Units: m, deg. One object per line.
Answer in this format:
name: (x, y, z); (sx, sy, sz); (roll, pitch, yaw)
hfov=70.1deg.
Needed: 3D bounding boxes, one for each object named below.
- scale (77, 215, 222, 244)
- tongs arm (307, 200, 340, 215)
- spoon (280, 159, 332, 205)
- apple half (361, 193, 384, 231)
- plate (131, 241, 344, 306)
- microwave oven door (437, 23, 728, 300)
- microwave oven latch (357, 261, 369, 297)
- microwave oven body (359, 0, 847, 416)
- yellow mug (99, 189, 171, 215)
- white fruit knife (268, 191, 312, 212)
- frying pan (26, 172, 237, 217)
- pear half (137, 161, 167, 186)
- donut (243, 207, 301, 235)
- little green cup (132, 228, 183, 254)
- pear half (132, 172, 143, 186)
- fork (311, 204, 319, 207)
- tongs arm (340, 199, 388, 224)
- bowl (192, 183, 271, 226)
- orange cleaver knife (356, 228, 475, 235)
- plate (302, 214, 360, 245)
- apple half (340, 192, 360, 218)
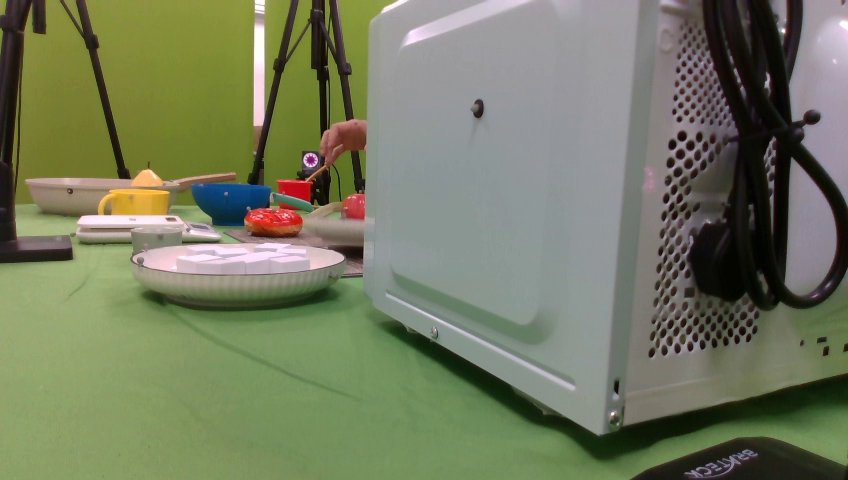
scale: (-0.434, -0.019, 0.963); (0.202, 0.031, 0.148); (-1, 9, -27)
tongs arm: (-0.234, -0.067, 1.414); (0.028, 0.028, 0.387); (-6, 8, 1)
spoon: (-0.316, -0.159, 1.640); (0.194, 0.022, 0.041); (-50, 32, -20)
apple half: (-0.093, -0.053, 1.136); (0.033, 0.081, 0.081); (1, 7, 12)
plate: (-0.187, 0.033, 0.625); (0.208, 0.039, 0.207); (2, 8, 0)
microwave oven door: (0.181, -0.072, 0.621); (0.358, 0.243, 0.039); (-2, 8, -29)
microwave oven latch: (-0.019, 0.033, 0.530); (0.079, 0.029, 0.030); (-1, 7, -26)
microwave oven body: (0.211, -0.047, 0.474); (0.444, 0.260, 0.324); (-1, 7, -28)
yellow mug: (-0.518, -0.055, 1.080); (0.099, 0.064, 0.131); (7, 9, 26)
white fruit knife: (-0.364, -0.105, 1.464); (0.208, 0.027, 0.016); (15, 0, -34)
frying pan: (-0.624, -0.118, 1.387); (0.305, 0.102, 0.490); (8, 17, 32)
pear half: (-0.602, -0.120, 1.354); (0.056, 0.110, 0.076); (4, 11, 6)
donut: (-0.261, -0.032, 1.043); (0.099, 0.048, 0.099); (4, 9, 0)
little green cup: (-0.342, 0.006, 0.779); (0.061, 0.038, 0.061); (2, 8, 0)
pear half: (-0.638, -0.113, 1.361); (0.031, 0.088, 0.070); (5, 10, 4)
fork: (-0.356, -0.105, 1.526); (0.208, 0.018, 0.028); (16, -5, -41)
tongs arm: (-0.149, -0.070, 1.429); (0.051, 0.026, 0.383); (-5, 9, -15)
bowl: (-0.382, -0.071, 1.202); (0.151, 0.077, 0.151); (3, 7, 0)
orange cleaver knife: (-0.017, -0.016, 1.080); (0.211, 0.012, 0.077); (-1, 1, -2)
plate: (-0.077, -0.013, 0.896); (0.209, 0.038, 0.209); (4, 1, 0)
apple half: (-0.130, -0.054, 1.144); (0.053, 0.074, 0.081); (0, 10, 12)
